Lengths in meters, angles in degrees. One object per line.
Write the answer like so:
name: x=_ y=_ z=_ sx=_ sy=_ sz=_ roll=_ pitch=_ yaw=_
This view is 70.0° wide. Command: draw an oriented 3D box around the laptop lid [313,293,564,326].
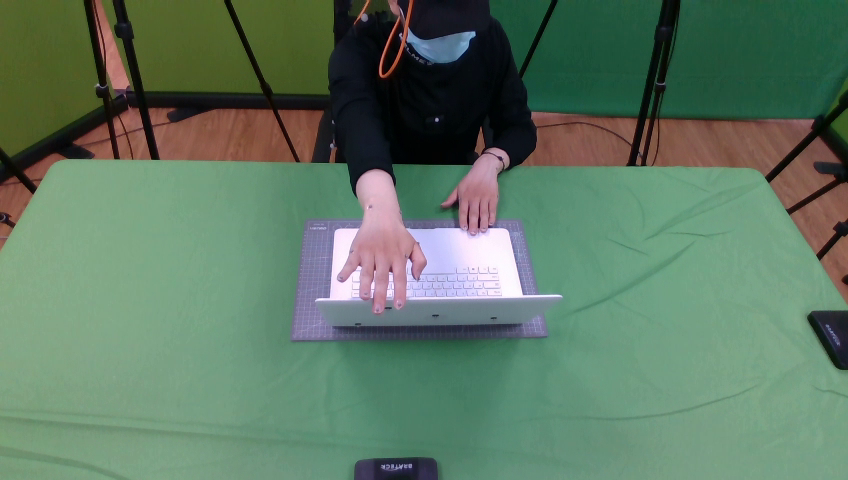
laptop lid: x=0.017 y=0.112 z=0.945 sx=0.357 sy=0.242 sz=0.013 roll=0 pitch=74 yaw=-5

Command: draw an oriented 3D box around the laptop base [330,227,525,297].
laptop base: x=0.005 y=0.061 z=1.136 sx=0.355 sy=0.023 sz=0.234 roll=0 pitch=43 yaw=-4
